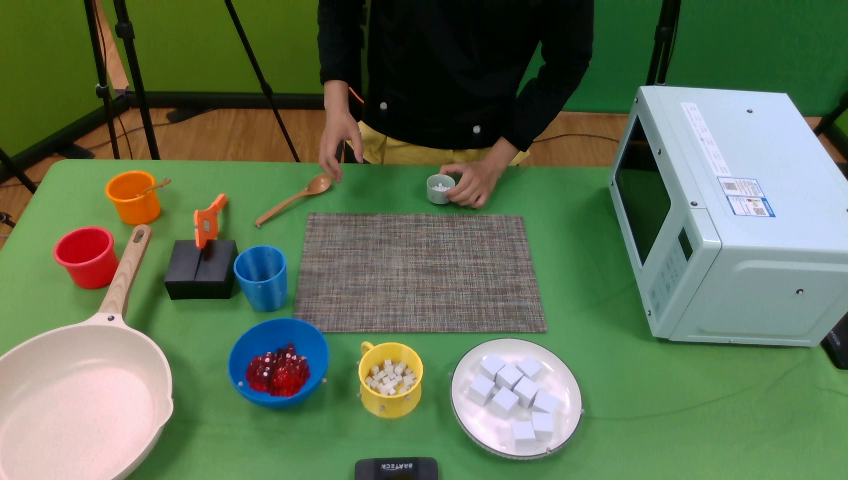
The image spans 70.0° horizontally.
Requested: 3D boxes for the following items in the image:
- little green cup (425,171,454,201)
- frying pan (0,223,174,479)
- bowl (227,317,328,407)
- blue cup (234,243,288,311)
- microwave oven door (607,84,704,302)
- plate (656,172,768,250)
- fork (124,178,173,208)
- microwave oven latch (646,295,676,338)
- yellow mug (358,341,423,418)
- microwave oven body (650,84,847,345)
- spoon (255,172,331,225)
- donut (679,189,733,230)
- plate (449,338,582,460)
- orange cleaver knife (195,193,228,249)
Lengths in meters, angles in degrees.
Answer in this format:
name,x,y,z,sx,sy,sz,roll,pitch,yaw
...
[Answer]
name,x,y,z,sx,sy,sz,roll,pitch,yaw
little green cup,0.033,-0.113,1.280,0.061,0.039,0.061,-3,43,3
frying pan,-0.504,0.169,0.941,0.307,0.103,0.485,5,54,-1
bowl,-0.222,0.203,0.947,0.151,0.077,0.150,2,46,-2
blue cup,-0.276,0.072,1.052,0.093,0.101,0.092,1,48,-1
microwave oven door,0.424,-0.096,1.138,0.039,0.245,0.353,3,46,-1
plate,0.556,-0.053,1.186,0.209,0.038,0.208,2,45,-1
fork,-0.525,-0.090,1.153,0.207,0.019,0.028,-17,27,45
microwave oven latch,0.412,0.133,1.060,0.030,0.029,0.078,4,46,1
yellow mug,-0.063,0.210,0.961,0.100,0.064,0.130,-29,54,-27
microwave oven body,0.569,-0.054,1.116,0.326,0.261,0.439,2,46,-1
spoon,-0.272,-0.087,1.257,0.041,0.022,0.193,42,57,18
donut,0.545,-0.061,1.176,0.099,0.048,0.098,0,45,0
plate,0.141,0.251,0.955,0.208,0.039,0.206,2,46,-2
orange cleaver knife,-0.406,-0.041,1.163,0.012,0.077,0.210,0,18,-3
